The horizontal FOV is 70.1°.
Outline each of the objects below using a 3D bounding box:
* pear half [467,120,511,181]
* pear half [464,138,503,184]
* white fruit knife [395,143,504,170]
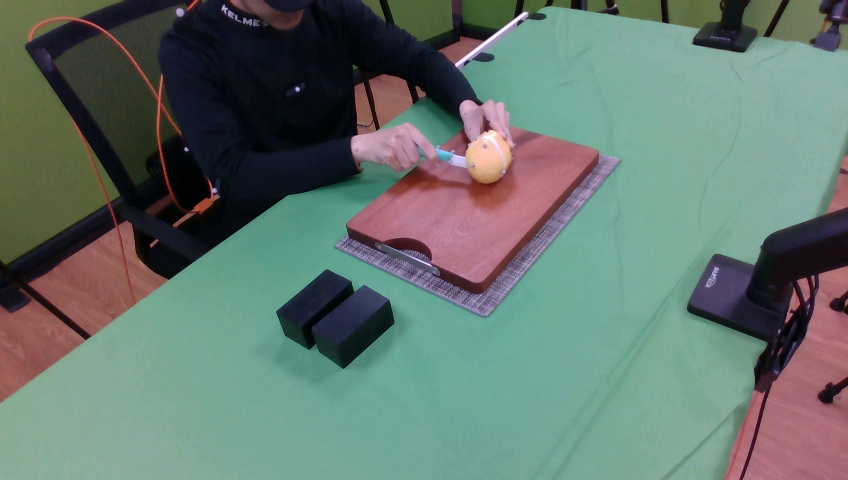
[{"bbox_3d":[0.112,-0.159,1.026,0.076,0.110,0.056,13,43,16],"label":"pear half"},{"bbox_3d":[0.095,-0.126,1.006,0.070,0.088,0.031,14,50,15],"label":"pear half"},{"bbox_3d":[0.041,-0.143,1.048,0.206,0.027,0.016,13,44,21],"label":"white fruit knife"}]
